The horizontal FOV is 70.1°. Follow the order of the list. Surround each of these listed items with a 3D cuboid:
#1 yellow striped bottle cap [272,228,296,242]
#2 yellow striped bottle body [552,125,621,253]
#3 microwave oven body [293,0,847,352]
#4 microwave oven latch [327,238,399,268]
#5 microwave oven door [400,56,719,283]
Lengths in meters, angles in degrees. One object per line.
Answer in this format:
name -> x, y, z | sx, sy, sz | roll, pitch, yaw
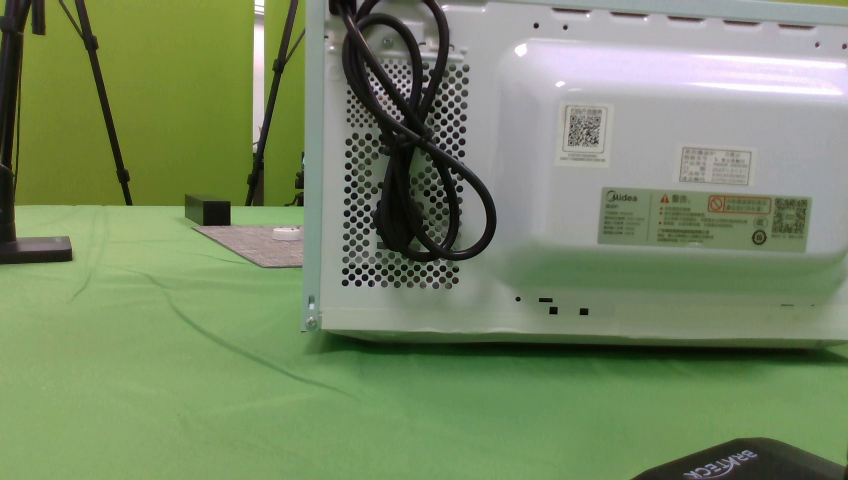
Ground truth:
yellow striped bottle cap -> -0.232, -0.008, 1.012 | 0.044, 0.018, 0.044 | 3, 9, 0
yellow striped bottle body -> 0.158, -0.050, 0.587 | 0.063, 0.120, 0.063 | 0, 6, 0
microwave oven body -> 0.122, -0.055, 0.550 | 0.442, 0.260, 0.325 | 3, 7, -5
microwave oven latch -> -0.069, 0.015, 0.694 | 0.079, 0.029, 0.030 | 3, 7, -3
microwave oven door -> 0.155, -0.078, 0.698 | 0.356, 0.243, 0.039 | 2, 8, -5
